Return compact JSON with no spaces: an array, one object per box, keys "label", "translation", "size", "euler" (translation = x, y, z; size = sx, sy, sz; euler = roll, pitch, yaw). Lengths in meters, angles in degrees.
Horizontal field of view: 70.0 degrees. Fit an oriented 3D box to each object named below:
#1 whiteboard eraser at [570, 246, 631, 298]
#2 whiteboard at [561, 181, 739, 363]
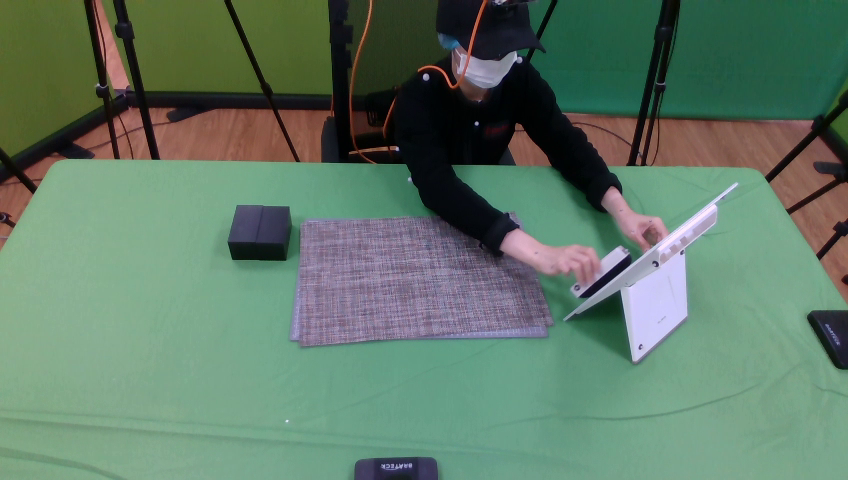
[{"label":"whiteboard eraser","translation":[0.309,0.059,1.056],"size":[0.041,0.113,0.055],"euler":[49,20,11]},{"label":"whiteboard","translation":[0.406,0.076,1.000],"size":[0.217,0.306,0.143],"euler":[-29,74,-29]}]
